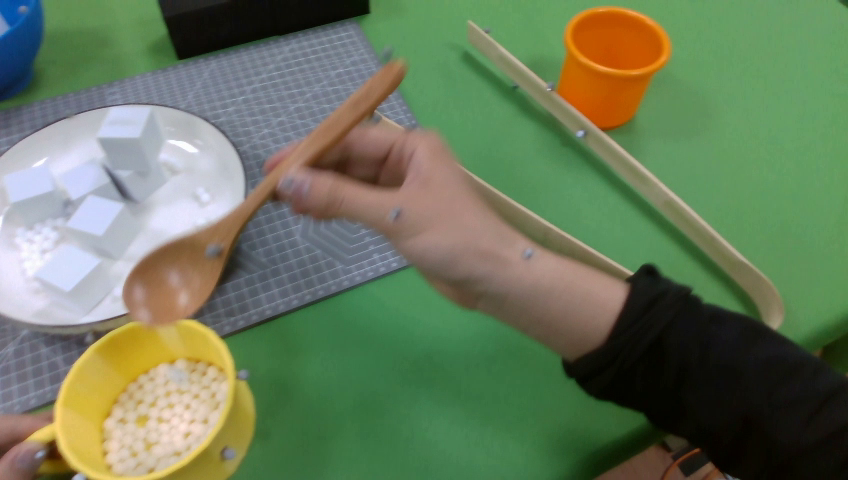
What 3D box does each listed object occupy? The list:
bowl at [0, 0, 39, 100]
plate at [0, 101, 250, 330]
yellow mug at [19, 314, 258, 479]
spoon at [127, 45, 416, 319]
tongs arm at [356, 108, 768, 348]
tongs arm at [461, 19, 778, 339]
[{"bbox_3d":[-0.412,-0.174,0.540,0.151,0.077,0.150,1,57,-1],"label":"bowl"},{"bbox_3d":[-0.238,-0.021,0.468,0.208,0.039,0.205,1,57,-1],"label":"plate"},{"bbox_3d":[-0.174,0.109,0.370,0.131,0.064,0.099,-20,60,-15],"label":"yellow mug"},{"bbox_3d":[-0.077,-0.028,0.306,0.194,0.021,0.041,-41,85,11],"label":"spoon"},{"bbox_3d":[0.084,-0.024,0.491,0.385,0.028,0.028,33,58,17],"label":"tongs arm"},{"bbox_3d":[0.142,-0.072,0.522,0.051,0.027,0.381,-34,66,-22],"label":"tongs arm"}]
